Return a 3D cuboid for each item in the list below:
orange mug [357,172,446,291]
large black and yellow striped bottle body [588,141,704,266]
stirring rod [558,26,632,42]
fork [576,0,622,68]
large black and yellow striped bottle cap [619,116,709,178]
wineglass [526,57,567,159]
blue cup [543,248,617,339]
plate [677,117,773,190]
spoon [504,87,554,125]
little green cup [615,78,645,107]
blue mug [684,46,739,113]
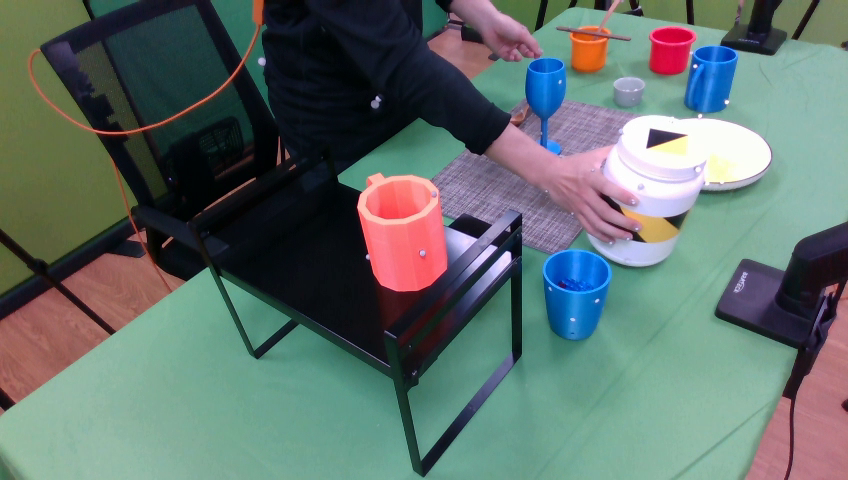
[{"bbox_3d":[-0.030,-0.018,0.669,0.084,0.101,0.125,-23,47,-16],"label":"orange mug"},{"bbox_3d":[0.316,-0.067,0.865,0.131,0.184,0.130,1,46,0],"label":"large black and yellow striped bottle body"},{"bbox_3d":[0.381,-0.462,1.356,0.175,0.006,0.014,22,48,30],"label":"stirring rod"},{"bbox_3d":[0.409,-0.484,1.381,0.028,0.019,0.207,37,101,45],"label":"fork"},{"bbox_3d":[0.319,-0.126,0.805,0.115,0.019,0.114,1,48,-1],"label":"large black and yellow striped bottle cap"},{"bbox_3d":[0.221,-0.237,1.098,0.074,0.173,0.073,-5,41,4],"label":"wineglass"},{"bbox_3d":[0.199,0.076,0.797,0.092,0.100,0.092,-4,39,4],"label":"blue cup"},{"bbox_3d":[0.495,-0.148,1.063,0.209,0.038,0.208,-5,40,4],"label":"plate"},{"bbox_3d":[0.227,-0.285,1.269,0.041,0.022,0.194,-1,34,46],"label":"spoon"},{"bbox_3d":[0.426,-0.306,1.257,0.061,0.039,0.061,-5,40,4],"label":"little green cup"},{"bbox_3d":[0.556,-0.311,1.190,0.117,0.106,0.081,-32,46,-25],"label":"blue mug"}]
